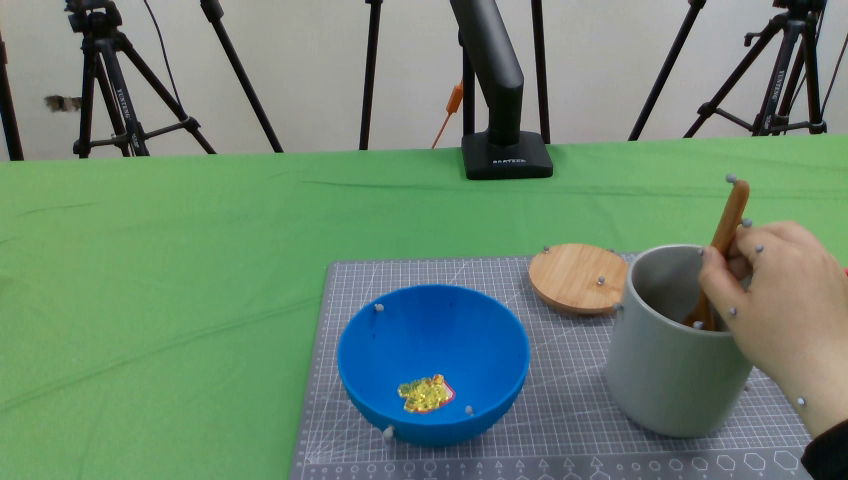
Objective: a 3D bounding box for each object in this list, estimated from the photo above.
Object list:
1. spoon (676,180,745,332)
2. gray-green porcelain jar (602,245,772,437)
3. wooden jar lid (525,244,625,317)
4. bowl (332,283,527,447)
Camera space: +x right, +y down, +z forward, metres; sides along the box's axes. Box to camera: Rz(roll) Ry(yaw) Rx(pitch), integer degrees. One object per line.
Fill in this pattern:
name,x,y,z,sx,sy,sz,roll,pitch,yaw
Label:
spoon,0.209,0.034,0.449,0.021,0.196,0.041,-16,45,-2
gray-green porcelain jar,0.201,0.084,0.483,0.106,0.127,0.105,-1,36,1
wooden jar lid,0.160,0.043,0.633,0.108,0.021,0.107,-1,35,1
bowl,0.005,0.113,0.491,0.151,0.077,0.150,-1,36,1
